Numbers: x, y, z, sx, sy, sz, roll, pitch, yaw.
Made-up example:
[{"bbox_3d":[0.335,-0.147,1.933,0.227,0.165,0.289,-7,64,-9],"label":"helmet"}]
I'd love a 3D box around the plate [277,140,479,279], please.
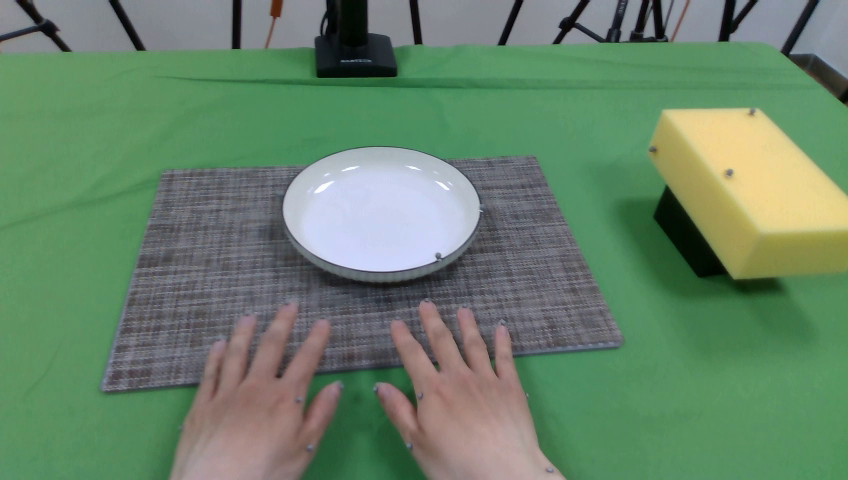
[{"bbox_3d":[-0.047,-0.032,0.639,0.208,0.039,0.205,3,43,-2],"label":"plate"}]

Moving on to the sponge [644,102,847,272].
[{"bbox_3d":[0.328,-0.063,0.621,0.118,0.061,0.204,-4,44,-9],"label":"sponge"}]
